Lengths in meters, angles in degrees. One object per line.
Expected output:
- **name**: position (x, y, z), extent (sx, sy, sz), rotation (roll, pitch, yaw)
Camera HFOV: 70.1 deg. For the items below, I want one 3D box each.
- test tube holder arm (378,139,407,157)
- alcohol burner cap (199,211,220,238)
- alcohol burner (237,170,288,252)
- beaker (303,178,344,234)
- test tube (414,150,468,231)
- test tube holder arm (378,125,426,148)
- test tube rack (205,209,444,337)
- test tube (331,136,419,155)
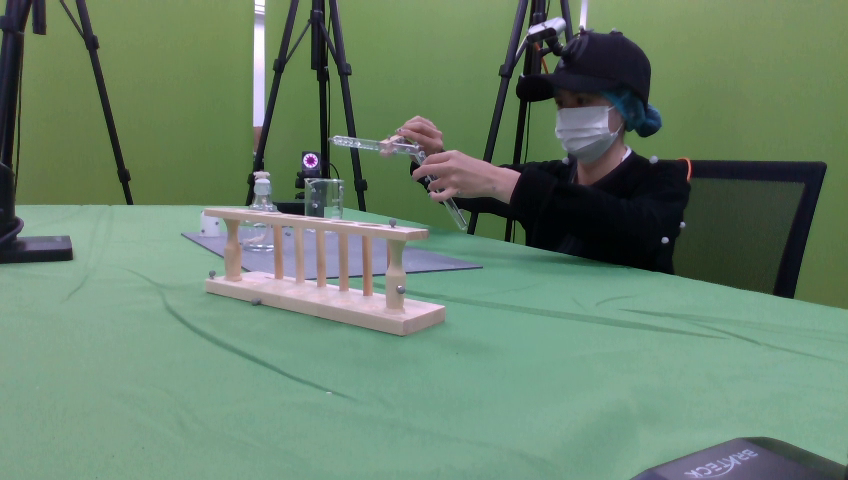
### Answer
- **test tube holder arm**: position (-0.052, -0.159, 1.016), extent (0.015, 0.010, 0.088), rotation (14, 31, 18)
- **alcohol burner cap**: position (-0.356, -0.027, 1.002), extent (0.034, 0.048, 0.034), rotation (3, 7, 0)
- **alcohol burner**: position (-0.236, -0.042, 0.882), extent (0.078, 0.119, 0.078), rotation (2, 9, 0)
- **beaker**: position (-0.189, -0.063, 1.119), extent (0.073, 0.100, 0.084), rotation (7, 9, 28)
- **test tube**: position (0.028, -0.080, 0.983), extent (0.017, 0.150, 0.017), rotation (-32, -2, -1)
- **test tube holder arm**: position (-0.034, -0.181, 1.052), extent (0.015, 0.013, 0.179), rotation (14, 25, 18)
- **test tube rack**: position (-0.100, 0.021, 0.565), extent (0.241, 0.085, 0.067), rotation (7, 8, 32)
- **test tube**: position (-0.082, -0.156, 0.998), extent (0.150, 0.017, 0.017), rotation (8, 8, 10)
